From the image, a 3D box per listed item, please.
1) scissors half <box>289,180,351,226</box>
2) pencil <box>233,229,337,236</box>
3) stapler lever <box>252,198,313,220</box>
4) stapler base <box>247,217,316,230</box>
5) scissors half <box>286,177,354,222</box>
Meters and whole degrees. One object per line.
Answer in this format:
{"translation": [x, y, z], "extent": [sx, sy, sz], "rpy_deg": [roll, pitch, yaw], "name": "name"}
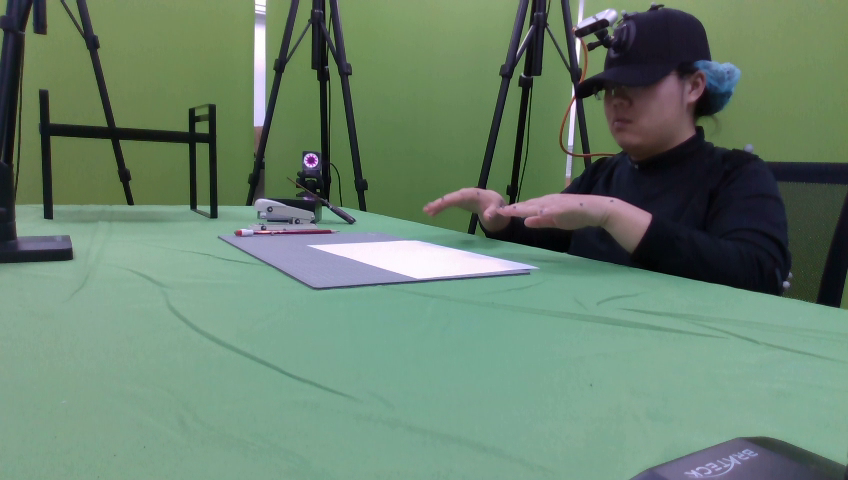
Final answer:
{"translation": [-0.232, -0.085, 1.318], "extent": [0.175, 0.013, 0.040], "rpy_deg": [37, 19, 4], "name": "scissors half"}
{"translation": [-0.240, -0.014, 1.066], "extent": [0.195, 0.012, 0.012], "rpy_deg": [-1, 8, -37], "name": "pencil"}
{"translation": [-0.273, -0.059, 1.170], "extent": [0.119, 0.040, 0.026], "rpy_deg": [0, 10, -37], "name": "stapler lever"}
{"translation": [-0.276, -0.033, 1.172], "extent": [0.131, 0.024, 0.041], "rpy_deg": [0, 10, -37], "name": "stapler base"}
{"translation": [-0.229, -0.091, 1.337], "extent": [0.175, 0.013, 0.040], "rpy_deg": [33, 14, -13], "name": "scissors half"}
